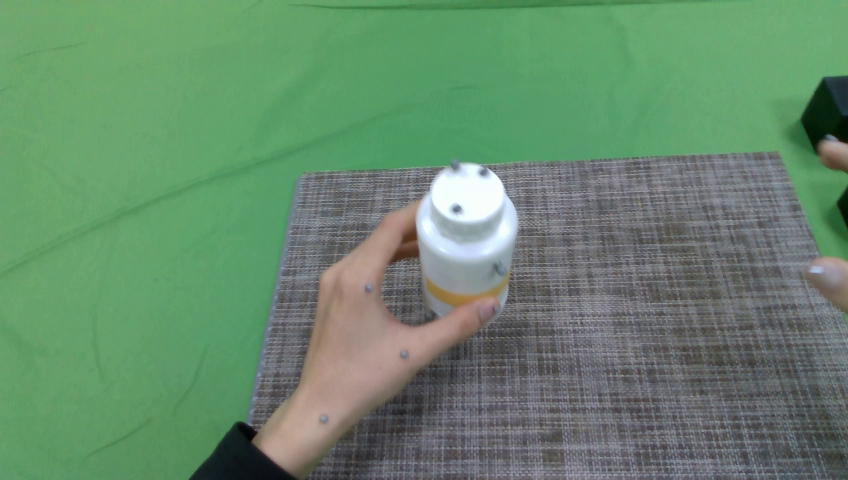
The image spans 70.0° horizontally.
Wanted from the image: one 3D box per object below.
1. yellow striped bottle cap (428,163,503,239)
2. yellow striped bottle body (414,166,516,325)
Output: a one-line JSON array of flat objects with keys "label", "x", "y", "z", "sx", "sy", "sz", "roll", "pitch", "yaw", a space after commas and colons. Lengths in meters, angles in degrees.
[{"label": "yellow striped bottle cap", "x": 0.024, "y": -0.023, "z": 0.353, "sx": 0.044, "sy": 0.019, "sz": 0.044, "roll": -1, "pitch": 57, "yaw": 3}, {"label": "yellow striped bottle body", "x": 0.025, "y": 0.004, "z": 0.396, "sx": 0.063, "sy": 0.121, "sz": 0.062, "roll": 0, "pitch": 58, "yaw": 0}]
